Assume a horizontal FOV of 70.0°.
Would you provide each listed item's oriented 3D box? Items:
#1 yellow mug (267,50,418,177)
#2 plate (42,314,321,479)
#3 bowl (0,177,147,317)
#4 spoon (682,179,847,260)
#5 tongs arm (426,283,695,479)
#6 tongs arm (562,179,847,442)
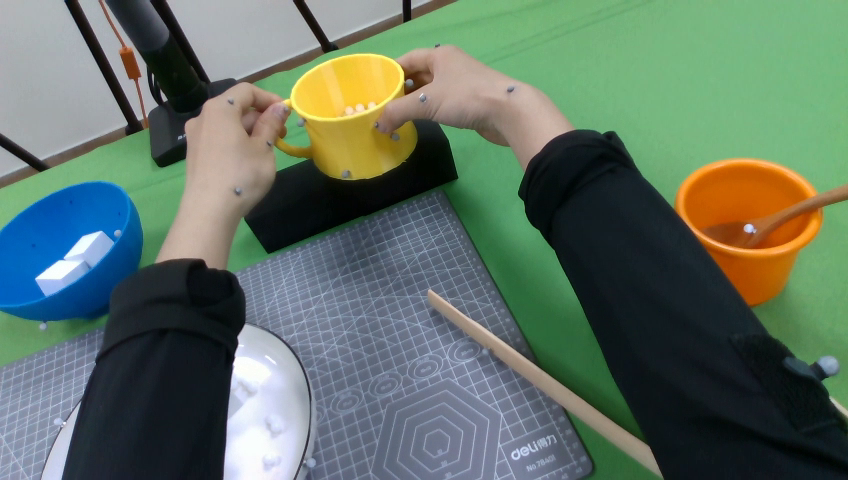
[{"bbox_3d":[-0.075,-0.109,0.538,0.131,0.064,0.099,-14,47,1],"label":"yellow mug"},{"bbox_3d":[-0.171,0.151,0.446,0.207,0.039,0.205,-8,48,10],"label":"plate"},{"bbox_3d":[-0.326,0.020,0.579,0.151,0.077,0.150,-9,49,10],"label":"bowl"},{"bbox_3d":[0.254,-0.023,0.397,0.022,0.193,0.041,37,59,-12],"label":"spoon"},{"bbox_3d":[0.141,0.126,0.386,0.384,0.028,0.028,32,62,33],"label":"tongs arm"},{"bbox_3d":[0.204,0.078,0.405,0.051,0.027,0.380,-32,52,-12],"label":"tongs arm"}]
